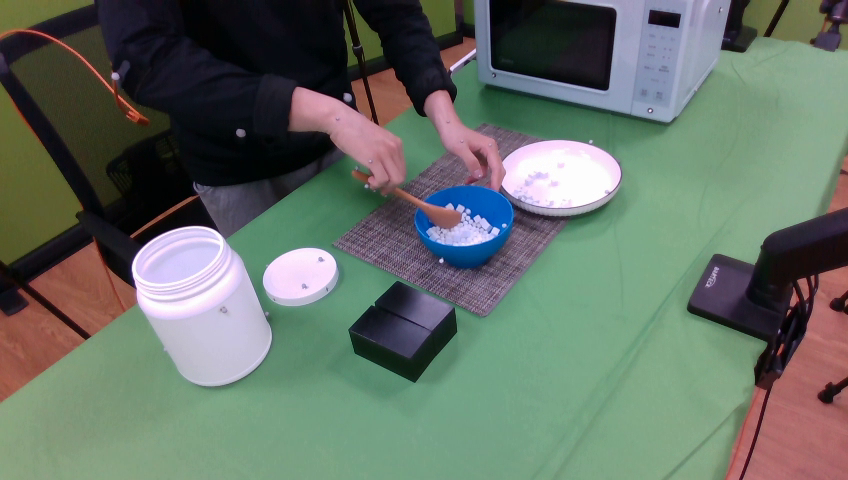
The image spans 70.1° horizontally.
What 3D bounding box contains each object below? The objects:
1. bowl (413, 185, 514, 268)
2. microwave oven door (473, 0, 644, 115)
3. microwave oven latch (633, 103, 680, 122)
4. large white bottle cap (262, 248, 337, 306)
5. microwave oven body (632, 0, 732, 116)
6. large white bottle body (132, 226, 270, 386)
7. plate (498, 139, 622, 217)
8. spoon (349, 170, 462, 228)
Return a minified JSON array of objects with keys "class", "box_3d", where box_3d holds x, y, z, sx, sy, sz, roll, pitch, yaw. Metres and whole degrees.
[{"class":"bowl","box_3d":[0.062,-0.010,0.922,0.151,0.077,0.150,-4,40,4]},{"class":"microwave oven door","box_3d":[0.257,-0.396,1.199,0.353,0.245,0.039,21,48,29]},{"class":"microwave oven latch","box_3d":[0.444,-0.249,1.157,0.078,0.029,0.030,21,49,30]},{"class":"large white bottle cap","box_3d":[-0.193,0.056,0.934,0.115,0.018,0.114,-4,41,4]},{"class":"microwave oven body","box_3d":[0.377,-0.463,1.267,0.438,0.261,0.327,21,49,30]},{"class":"large white bottle body","box_3d":[-0.286,0.085,0.783,0.130,0.185,0.130,-4,41,4]},{"class":"plate","box_3d":[0.231,-0.103,1.038,0.209,0.038,0.208,-4,41,4]},{"class":"spoon","box_3d":[-0.025,-0.061,0.895,0.195,0.041,0.021,25,38,-23]}]
